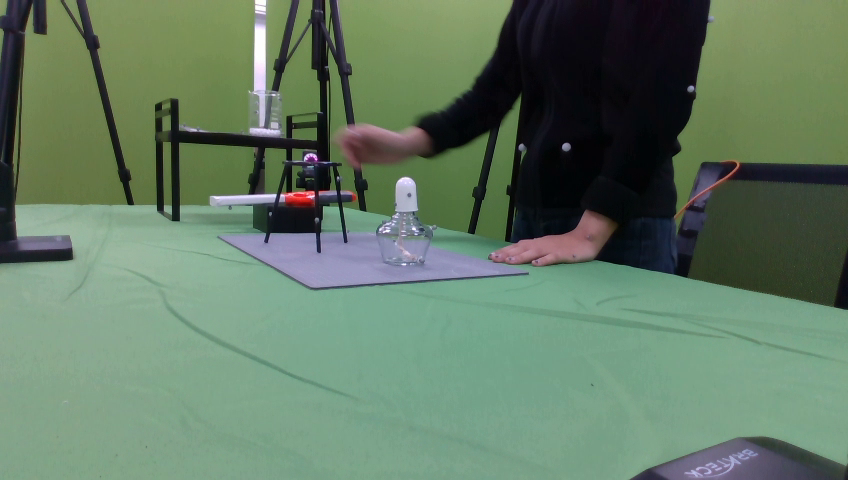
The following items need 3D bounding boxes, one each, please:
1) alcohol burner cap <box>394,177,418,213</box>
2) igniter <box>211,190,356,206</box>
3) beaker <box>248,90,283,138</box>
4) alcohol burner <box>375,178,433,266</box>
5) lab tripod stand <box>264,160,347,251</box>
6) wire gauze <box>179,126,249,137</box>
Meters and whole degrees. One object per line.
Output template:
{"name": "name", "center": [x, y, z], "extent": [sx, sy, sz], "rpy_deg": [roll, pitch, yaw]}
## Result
{"name": "alcohol burner cap", "center": [-0.025, -0.060, 0.809], "extent": [0.034, 0.048, 0.034], "rpy_deg": [-4, 10, 1]}
{"name": "igniter", "center": [-0.260, -0.080, 1.152], "extent": [0.278, 0.025, 0.057], "rpy_deg": [-5, 13, -34]}
{"name": "beaker", "center": [-0.354, -0.278, 1.340], "extent": [0.074, 0.100, 0.084], "rpy_deg": [6, 9, 26]}
{"name": "alcohol burner", "center": [-0.026, -0.025, 0.815], "extent": [0.078, 0.119, 0.078], "rpy_deg": [5, 7, 0]}
{"name": "lab tripod stand", "center": [-0.177, -0.057, 0.930], "extent": [0.148, 0.131, 0.148], "rpy_deg": [1, 9, 0]}
{"name": "wire gauze", "center": [-0.439, -0.227, 1.266], "extent": [0.122, 0.011, 0.124], "rpy_deg": [0, 10, -34]}
